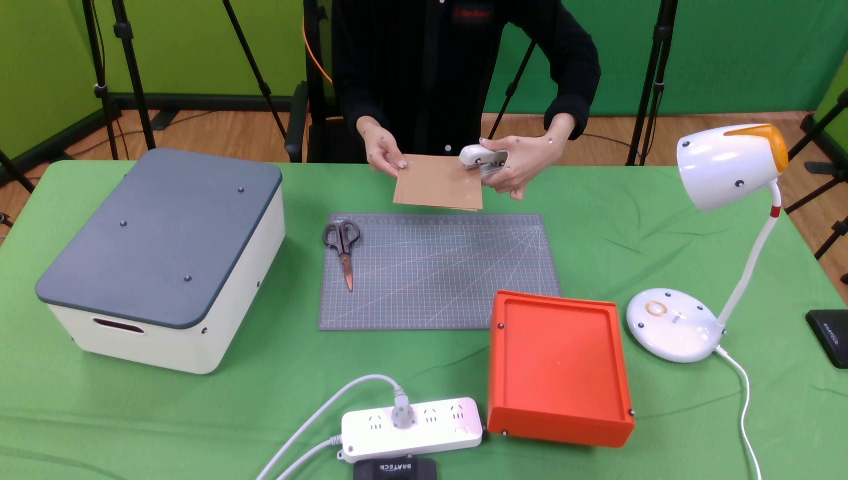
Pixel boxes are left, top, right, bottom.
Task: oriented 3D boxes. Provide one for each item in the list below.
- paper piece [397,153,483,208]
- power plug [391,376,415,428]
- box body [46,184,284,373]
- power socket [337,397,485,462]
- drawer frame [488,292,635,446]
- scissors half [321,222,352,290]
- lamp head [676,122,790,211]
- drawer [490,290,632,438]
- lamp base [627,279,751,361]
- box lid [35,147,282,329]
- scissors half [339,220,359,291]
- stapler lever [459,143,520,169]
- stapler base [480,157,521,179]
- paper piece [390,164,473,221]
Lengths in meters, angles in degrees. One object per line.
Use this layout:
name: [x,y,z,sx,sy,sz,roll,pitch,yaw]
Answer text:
paper piece: [0.027,-0.101,0.999,0.136,0.009,0.137,5,44,-3]
power plug: [-0.030,0.249,0.917,0.035,0.053,0.072,3,46,-1]
box body: [-0.414,0.029,1.040,0.254,0.161,0.362,10,46,5]
power socket: [-0.018,0.285,0.915,0.227,0.033,0.071,-4,46,-8]
drawer frame: [0.204,0.191,0.931,0.202,0.083,0.212,7,45,2]
scissors half: [-0.163,0.030,1.159,0.040,0.013,0.174,-16,51,-14]
lamp head: [0.423,-0.104,0.819,0.122,0.113,0.112,-13,33,40]
drawer: [0.203,0.185,0.934,0.194,0.073,0.210,7,47,1]
lamp base: [0.460,0.100,1.027,0.178,0.181,0.160,27,51,17]
box lid: [-0.411,-0.023,0.987,0.263,0.015,0.369,10,47,5]
scissors half: [-0.144,0.026,1.162,0.040,0.013,0.174,-7,50,1]
stapler lever: [0.113,-0.149,1.028,0.118,0.040,0.026,-18,53,-26]
stapler base: [0.108,-0.131,1.044,0.131,0.024,0.041,-18,53,-26]
paper piece: [0.019,-0.089,1.002,0.135,0.004,0.135,13,44,-1]
